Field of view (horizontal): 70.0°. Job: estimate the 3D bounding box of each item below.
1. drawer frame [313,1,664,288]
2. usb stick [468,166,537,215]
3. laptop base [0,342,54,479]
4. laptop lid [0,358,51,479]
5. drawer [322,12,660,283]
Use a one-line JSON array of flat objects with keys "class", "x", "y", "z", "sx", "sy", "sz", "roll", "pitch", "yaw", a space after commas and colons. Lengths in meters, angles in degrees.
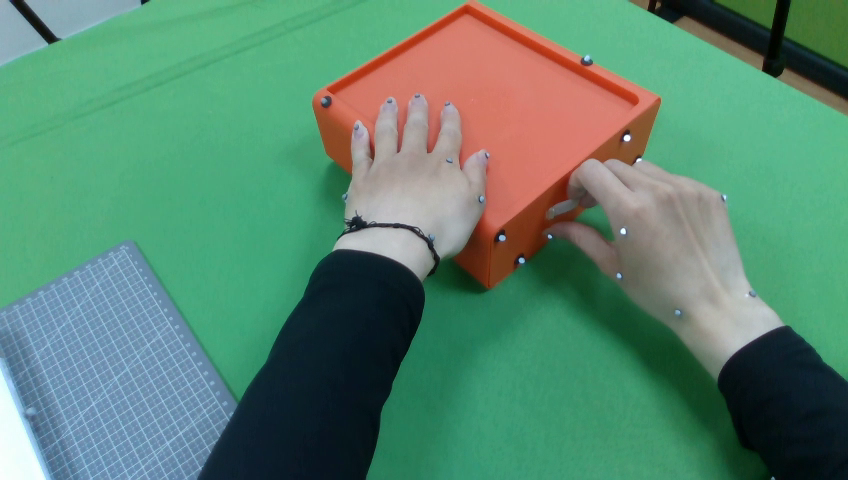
[{"class": "drawer frame", "x": 0.051, "y": -0.094, "z": 0.521, "sx": 0.201, "sy": 0.083, "sz": 0.211, "roll": -39, "pitch": 59, "yaw": -22}, {"class": "usb stick", "x": 0.067, "y": -0.043, "z": 0.503, "sx": 0.059, "sy": 0.027, "sz": 0.021, "roll": -18, "pitch": 60, "yaw": -10}, {"class": "laptop base", "x": -0.400, "y": 0.222, "z": 0.351, "sx": 0.354, "sy": 0.023, "sz": 0.233, "roll": -33, "pitch": 61, "yaw": -20}, {"class": "laptop lid", "x": -0.399, "y": 0.216, "z": 0.340, "sx": 0.357, "sy": 0.013, "sz": 0.239, "roll": -32, "pitch": 60, "yaw": -19}, {"class": "drawer", "x": 0.053, "y": -0.094, "z": 0.520, "sx": 0.194, "sy": 0.074, "sz": 0.210, "roll": -38, "pitch": 59, "yaw": -22}]
